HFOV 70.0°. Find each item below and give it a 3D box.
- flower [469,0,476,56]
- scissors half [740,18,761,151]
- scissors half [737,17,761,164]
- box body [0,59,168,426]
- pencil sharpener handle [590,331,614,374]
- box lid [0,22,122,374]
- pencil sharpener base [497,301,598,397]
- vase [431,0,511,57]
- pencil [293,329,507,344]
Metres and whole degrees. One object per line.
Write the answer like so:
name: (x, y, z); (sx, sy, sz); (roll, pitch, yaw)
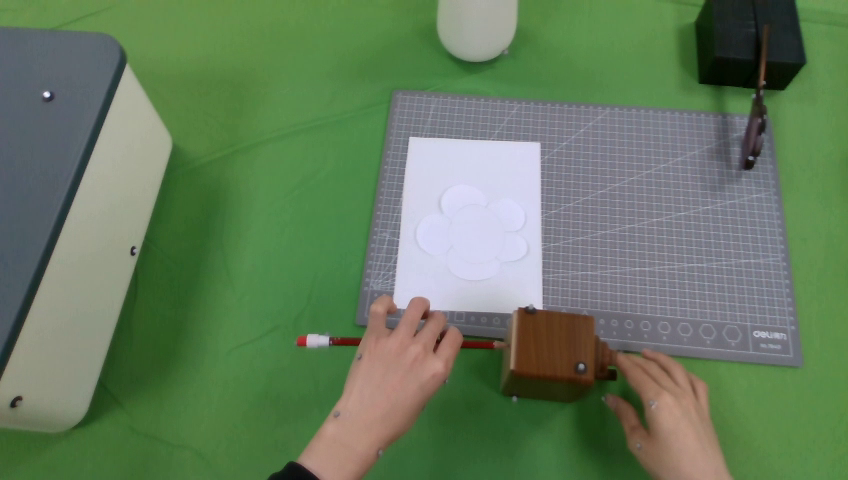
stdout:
flower: (0.046, -0.349, 0.611); (0.044, 0.365, 0.038); (-2, 49, 4)
scissors half: (0.364, -0.176, 0.666); (0.013, 0.040, 0.174); (9, 68, 16)
scissors half: (0.370, -0.170, 0.685); (0.012, 0.040, 0.175); (8, 85, 21)
box body: (-0.432, -0.013, 0.589); (0.254, 0.161, 0.361); (5, 67, 3)
pencil sharpener handle: (0.161, 0.104, 0.544); (0.030, 0.068, 0.035); (6, 61, 4)
box lid: (-0.434, -0.046, 0.521); (0.263, 0.015, 0.369); (5, 67, 3)
pencil sharpener base: (0.111, 0.103, 0.558); (0.076, 0.108, 0.061); (6, 66, 4)
vase: (0.054, -0.303, 0.682); (0.098, 0.201, 0.097); (-1, 65, 2)
pencil: (-0.019, 0.087, 0.539); (0.194, 0.012, 0.012); (2, 66, 0)
